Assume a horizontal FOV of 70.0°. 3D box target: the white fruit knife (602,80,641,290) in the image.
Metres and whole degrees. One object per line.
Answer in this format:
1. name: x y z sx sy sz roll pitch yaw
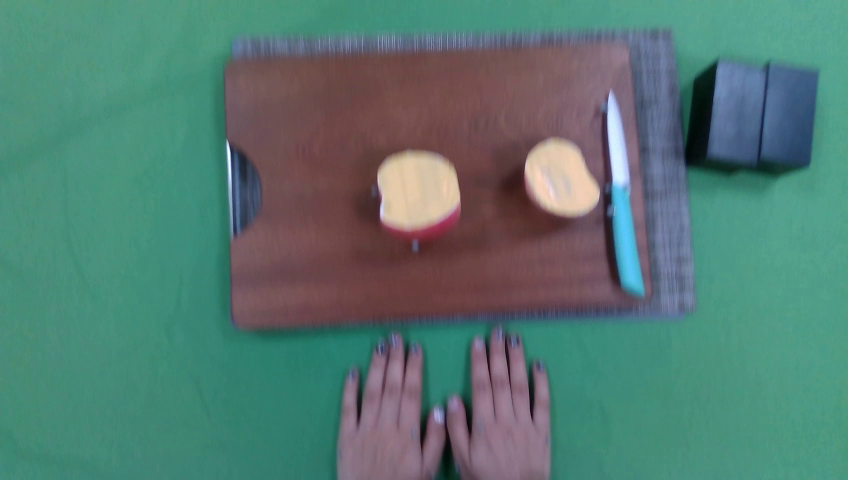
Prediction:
1. white fruit knife: 0.187 -0.054 0.585 0.027 0.016 0.207 -2 83 -32

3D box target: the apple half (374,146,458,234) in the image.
1. apple half: -0.007 -0.040 0.554 0.075 0.054 0.080 -13 63 0

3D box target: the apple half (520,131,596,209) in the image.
1. apple half: 0.118 -0.059 0.569 0.082 0.033 0.080 8 68 -21
